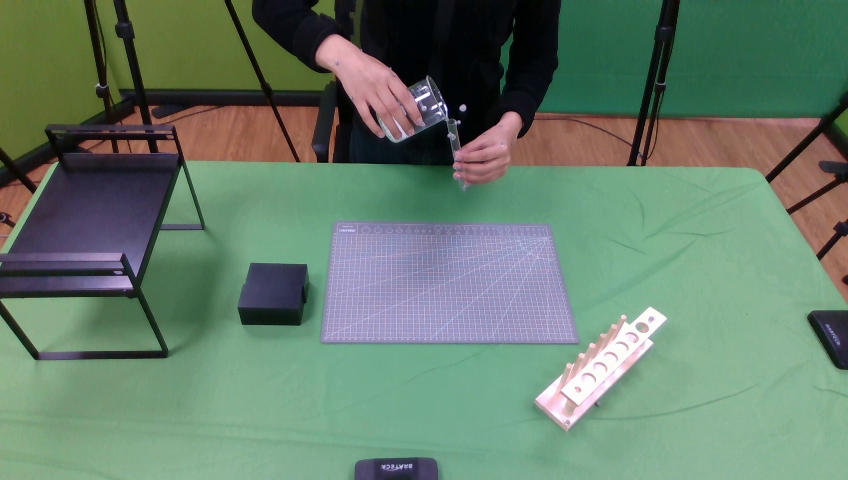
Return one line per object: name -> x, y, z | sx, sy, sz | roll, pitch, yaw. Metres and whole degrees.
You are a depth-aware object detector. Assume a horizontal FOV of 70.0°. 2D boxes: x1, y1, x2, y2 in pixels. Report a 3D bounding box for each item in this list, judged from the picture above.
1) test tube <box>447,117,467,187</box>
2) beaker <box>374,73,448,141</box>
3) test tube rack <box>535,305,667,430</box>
test tube -> 0.057, -0.146, 1.035 | 0.017, 0.151, 0.017 | -7, 48, 8
beaker -> -0.020, -0.206, 0.964 | 0.100, 0.084, 0.073 | -24, 38, 16
test tube rack -> 0.290, 0.193, 0.984 | 0.242, 0.085, 0.066 | -32, 57, -30
